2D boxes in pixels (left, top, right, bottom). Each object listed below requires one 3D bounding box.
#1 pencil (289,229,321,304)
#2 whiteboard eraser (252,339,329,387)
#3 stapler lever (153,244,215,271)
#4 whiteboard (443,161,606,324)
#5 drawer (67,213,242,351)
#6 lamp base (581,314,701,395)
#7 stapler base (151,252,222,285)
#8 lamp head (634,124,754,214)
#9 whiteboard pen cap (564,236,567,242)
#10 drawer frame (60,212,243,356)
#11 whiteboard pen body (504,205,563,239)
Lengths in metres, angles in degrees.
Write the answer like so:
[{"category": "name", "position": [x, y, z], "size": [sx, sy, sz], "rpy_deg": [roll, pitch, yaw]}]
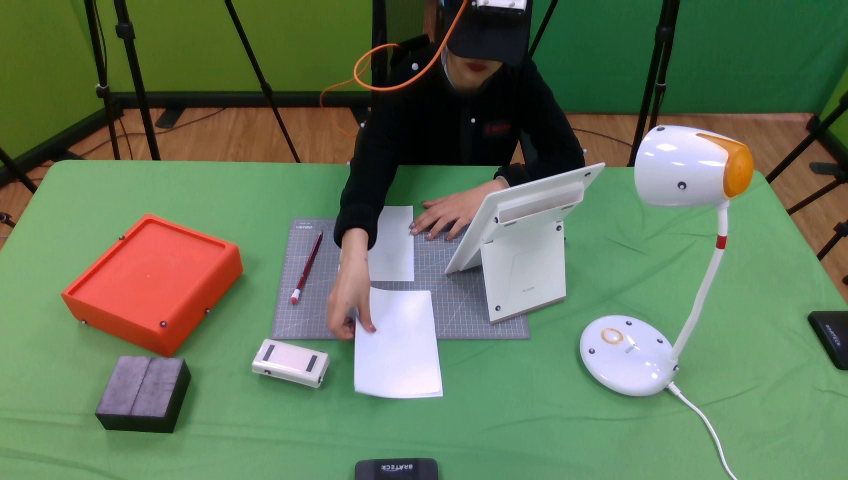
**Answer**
[{"category": "pencil", "position": [-0.221, 0.045, 1.141], "size": [0.012, 0.012, 0.193], "rpy_deg": [8, 44, 4]}, {"category": "whiteboard eraser", "position": [-0.215, 0.199, 0.976], "size": [0.112, 0.042, 0.055], "rpy_deg": [12, 45, 7]}, {"category": "stapler lever", "position": [-0.431, 0.025, 1.088], "size": [0.118, 0.040, 0.027], "rpy_deg": [15, 33, 12]}, {"category": "whiteboard", "position": [0.185, 0.026, 1.028], "size": [0.217, 0.306, 0.143], "rpy_deg": [-15, 68, -18]}, {"category": "drawer", "position": [-0.461, 0.068, 1.057], "size": [0.194, 0.073, 0.211], "rpy_deg": [19, 48, 13]}, {"category": "lamp base", "position": [0.361, 0.144, 0.973], "size": [0.178, 0.181, 0.160], "rpy_deg": [34, 53, 23]}, {"category": "stapler base", "position": [-0.432, 0.047, 1.103], "size": [0.130, 0.024, 0.041], "rpy_deg": [16, 33, 12]}, {"category": "lamp head", "position": [0.351, -0.089, 0.776], "size": [0.112, 0.113, 0.122], "rpy_deg": [-30, 30, -28]}, {"category": "whiteboard pen cap", "position": [0.271, -0.007, 1.225], "size": [0.033, 0.018, 0.018], "rpy_deg": [33, 53, 22]}, {"category": "drawer frame", "position": [-0.462, 0.070, 1.053], "size": [0.201, 0.083, 0.213], "rpy_deg": [18, 48, 12]}, {"category": "whiteboard pen body", "position": [0.226, -0.036, 1.249], "size": [0.140, 0.017, 0.017], "rpy_deg": [31, 52, 23]}]
